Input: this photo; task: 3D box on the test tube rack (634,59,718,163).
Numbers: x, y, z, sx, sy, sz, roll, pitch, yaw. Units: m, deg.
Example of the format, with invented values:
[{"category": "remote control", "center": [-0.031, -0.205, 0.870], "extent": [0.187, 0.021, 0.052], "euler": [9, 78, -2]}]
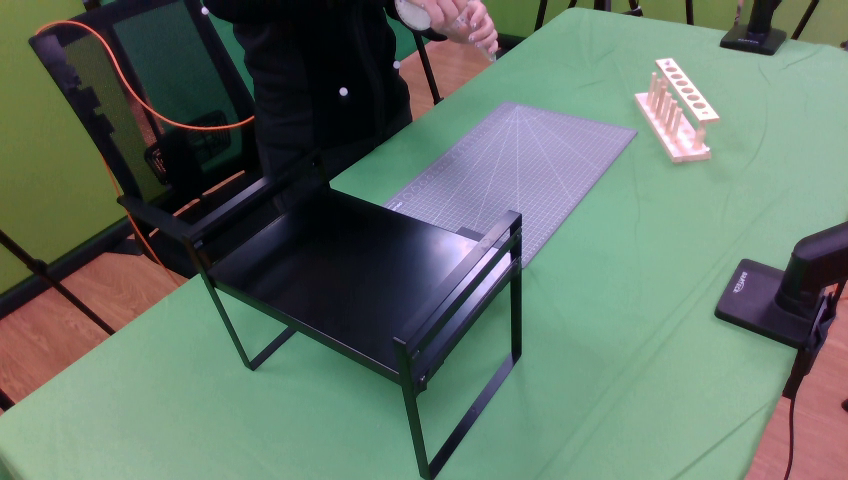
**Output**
[{"category": "test tube rack", "center": [0.470, -0.250, 1.148], "extent": [0.067, 0.085, 0.241], "euler": [-6, 40, 3]}]

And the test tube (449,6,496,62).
[{"category": "test tube", "center": [0.082, -0.333, 0.987], "extent": [0.017, 0.151, 0.017], "euler": [-10, 70, 29]}]

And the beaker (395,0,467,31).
[{"category": "beaker", "center": [0.012, -0.353, 0.876], "extent": [0.073, 0.084, 0.100], "euler": [23, 52, 30]}]
